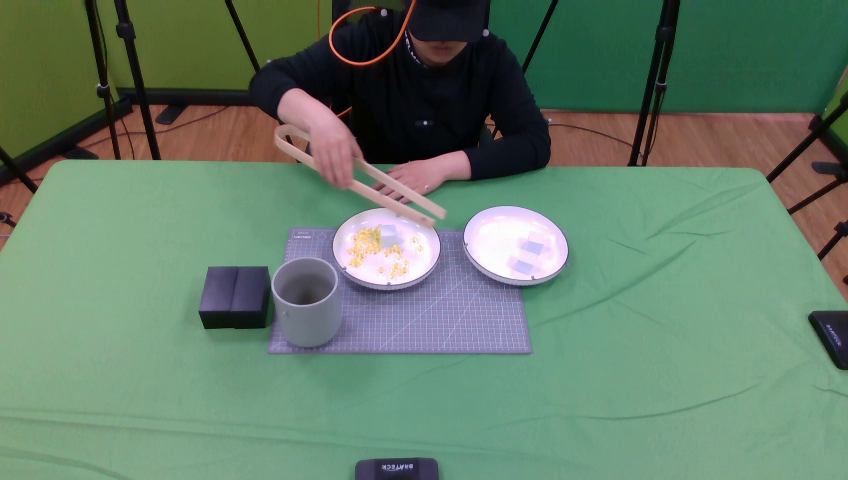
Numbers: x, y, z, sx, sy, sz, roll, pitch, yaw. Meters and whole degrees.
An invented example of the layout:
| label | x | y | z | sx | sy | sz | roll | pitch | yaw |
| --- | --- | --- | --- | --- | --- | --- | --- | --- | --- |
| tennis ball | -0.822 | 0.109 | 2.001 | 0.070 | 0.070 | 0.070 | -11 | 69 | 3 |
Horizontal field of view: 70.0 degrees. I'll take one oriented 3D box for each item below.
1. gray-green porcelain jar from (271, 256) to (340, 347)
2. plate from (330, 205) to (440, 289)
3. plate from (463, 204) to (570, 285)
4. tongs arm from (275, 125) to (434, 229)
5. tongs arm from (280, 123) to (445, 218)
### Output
| label | x | y | z | sx | sy | sz | roll | pitch | yaw |
| --- | --- | --- | --- | --- | --- | --- | --- | --- | --- |
| gray-green porcelain jar | -0.193 | 0.107 | 1.004 | 0.106 | 0.127 | 0.105 | 2 | 46 | -2 |
| plate | -0.074 | 0.017 | 1.160 | 0.208 | 0.039 | 0.206 | 2 | 46 | -2 |
| plate | 0.178 | 0.012 | 1.184 | 0.209 | 0.038 | 0.208 | 3 | 46 | -3 |
| tongs arm | -0.139 | -0.125 | 1.167 | 0.384 | 0.026 | 0.050 | 27 | 49 | 13 |
| tongs arm | -0.125 | -0.140 | 1.184 | 0.386 | 0.028 | 0.028 | 30 | 53 | 16 |
